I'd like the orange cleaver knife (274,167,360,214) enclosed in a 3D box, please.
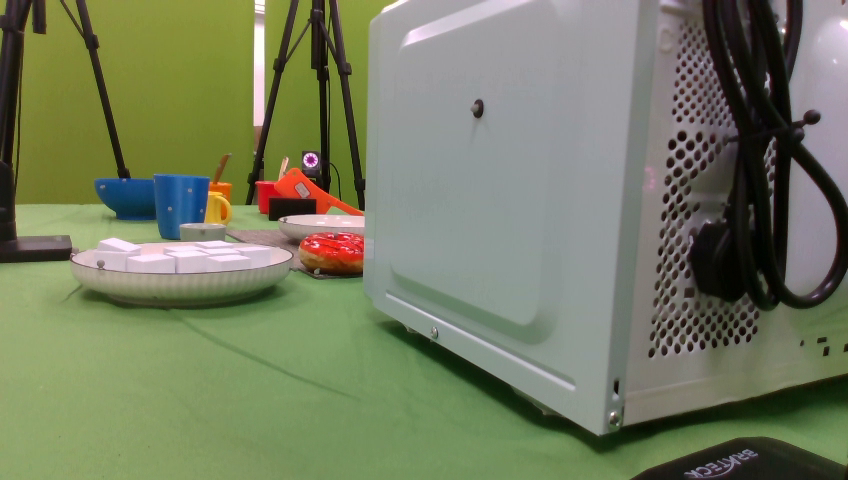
[{"bbox_3d":[-0.238,-0.091,1.381,0.212,0.077,0.012,31,0,-19],"label":"orange cleaver knife"}]

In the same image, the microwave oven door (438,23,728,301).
[{"bbox_3d":[0.181,-0.072,0.620,0.358,0.243,0.039,-2,8,-29],"label":"microwave oven door"}]

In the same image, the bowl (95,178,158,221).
[{"bbox_3d":[-0.576,-0.081,1.217,0.151,0.077,0.151,3,8,0],"label":"bowl"}]

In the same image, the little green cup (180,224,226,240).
[{"bbox_3d":[-0.309,-0.001,0.846,0.061,0.038,0.061,2,8,0],"label":"little green cup"}]

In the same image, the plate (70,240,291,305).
[{"bbox_3d":[-0.242,0.031,0.618,0.208,0.039,0.207,2,8,0],"label":"plate"}]

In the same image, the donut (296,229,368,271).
[{"bbox_3d":[-0.106,0.014,0.739,0.099,0.048,0.099,4,8,0],"label":"donut"}]

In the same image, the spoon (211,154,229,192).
[{"bbox_3d":[-0.431,-0.115,1.253,0.042,0.193,0.021,-4,54,-33],"label":"spoon"}]

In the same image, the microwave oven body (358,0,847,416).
[{"bbox_3d":[0.211,-0.047,0.474,0.444,0.260,0.324,-1,8,-28],"label":"microwave oven body"}]

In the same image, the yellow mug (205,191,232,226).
[{"bbox_3d":[-0.415,-0.057,1.131,0.130,0.064,0.100,6,8,16],"label":"yellow mug"}]

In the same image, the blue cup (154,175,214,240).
[{"bbox_3d":[-0.391,-0.053,0.978,0.093,0.100,0.092,3,6,0],"label":"blue cup"}]

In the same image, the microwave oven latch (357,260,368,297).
[{"bbox_3d":[-0.019,0.033,0.530,0.079,0.029,0.030,0,7,-26],"label":"microwave oven latch"}]

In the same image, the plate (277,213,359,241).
[{"bbox_3d":[-0.135,-0.017,0.992,0.209,0.038,0.209,3,8,0],"label":"plate"}]

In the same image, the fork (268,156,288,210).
[{"bbox_3d":[-0.360,-0.144,1.508,0.028,0.018,0.207,1,49,0],"label":"fork"}]
